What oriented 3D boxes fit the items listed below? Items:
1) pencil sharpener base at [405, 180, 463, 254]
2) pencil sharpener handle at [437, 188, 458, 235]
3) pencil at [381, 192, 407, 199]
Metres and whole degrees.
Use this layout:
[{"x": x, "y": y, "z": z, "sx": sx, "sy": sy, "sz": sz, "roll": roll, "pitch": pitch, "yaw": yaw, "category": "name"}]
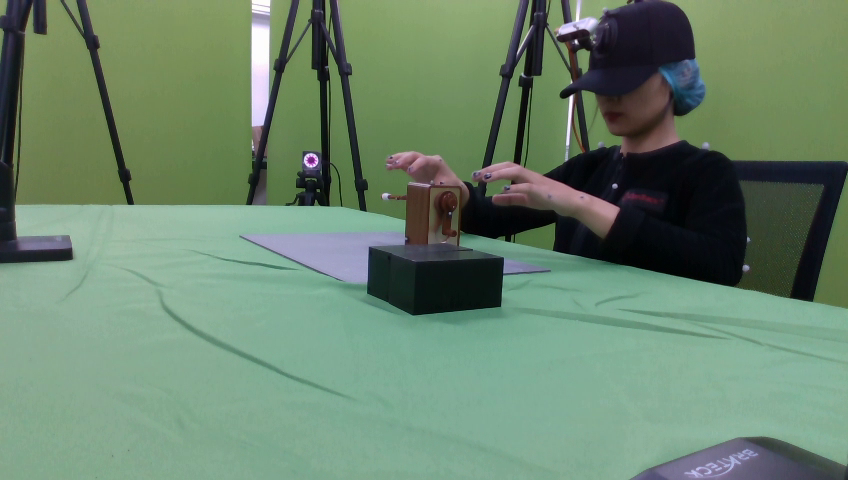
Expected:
[{"x": 0.016, "y": -0.036, "z": 0.922, "sx": 0.061, "sy": 0.107, "sz": 0.076, "roll": -2, "pitch": 9, "yaw": -30, "category": "pencil sharpener base"}, {"x": 0.041, "y": -0.041, "z": 0.876, "sx": 0.036, "sy": 0.067, "sz": 0.030, "roll": 2, "pitch": 7, "yaw": -30, "category": "pencil sharpener handle"}, {"x": -0.026, "y": -0.070, "z": 0.993, "sx": 0.012, "sy": 0.012, "sz": 0.193, "roll": -2, "pitch": 7, "yaw": -29, "category": "pencil"}]
